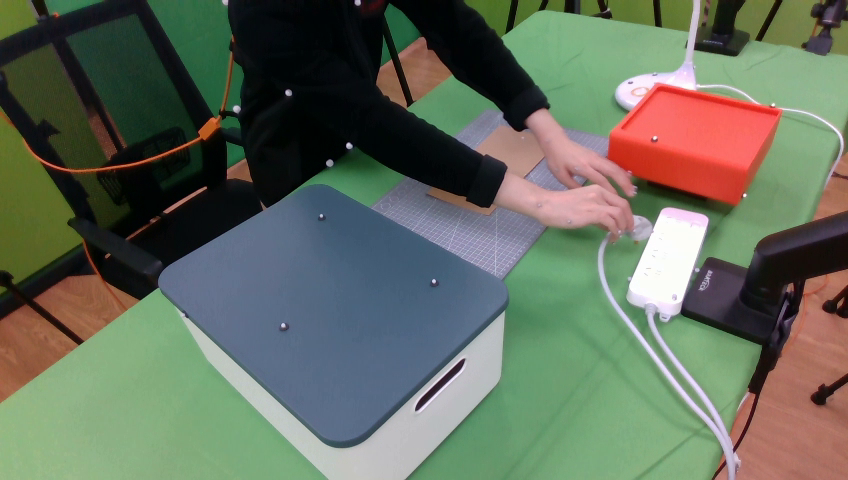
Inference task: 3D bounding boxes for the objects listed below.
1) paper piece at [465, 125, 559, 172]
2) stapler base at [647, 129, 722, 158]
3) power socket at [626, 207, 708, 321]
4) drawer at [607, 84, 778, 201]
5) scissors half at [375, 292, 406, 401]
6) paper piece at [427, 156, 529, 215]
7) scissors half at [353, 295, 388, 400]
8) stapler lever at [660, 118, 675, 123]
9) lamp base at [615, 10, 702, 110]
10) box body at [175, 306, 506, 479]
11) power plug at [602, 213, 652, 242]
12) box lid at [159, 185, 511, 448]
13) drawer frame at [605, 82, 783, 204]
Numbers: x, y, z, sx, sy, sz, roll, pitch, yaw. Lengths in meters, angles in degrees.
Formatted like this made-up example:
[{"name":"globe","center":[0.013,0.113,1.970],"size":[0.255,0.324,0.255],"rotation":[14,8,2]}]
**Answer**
[{"name":"paper piece","center":[0.171,-0.177,1.167],"size":[0.137,0.009,0.136],"rotation":[21,45,30]},{"name":"stapler base","center":[0.439,-0.167,1.023],"size":[0.131,0.024,0.041],"rotation":[-17,25,-15]},{"name":"power socket","center":[0.360,0.026,0.886],"size":[0.072,0.033,0.227],"rotation":[16,46,26]},{"name":"drawer","center":[0.439,-0.167,0.996],"size":[0.210,0.073,0.195],"rotation":[23,48,30]},{"name":"scissors half","center":[-0.048,0.139,0.817],"size":[0.040,0.013,0.174],"rotation":[-4,45,8]},{"name":"paper piece","center":[0.097,-0.103,1.091],"size":[0.134,0.004,0.136],"rotation":[23,51,33]},{"name":"scissors half","center":[-0.068,0.142,0.818],"size":[0.040,0.013,0.174],"rotation":[-20,44,0]},{"name":"stapler lever","center":[0.436,-0.192,1.014],"size":[0.118,0.040,0.026],"rotation":[-15,24,-16]},{"name":"lamp base","center":[0.484,-0.364,1.211],"size":[0.180,0.181,0.159],"rotation":[-15,41,-14]},{"name":"box body","center":[-0.105,0.111,0.751],"size":[0.361,0.161,0.255],"rotation":[28,52,35]},{"name":"power plug","center":[0.287,-0.015,0.859],"size":[0.072,0.053,0.035],"rotation":[-10,50,9]},{"name":"box lid","center":[-0.114,0.055,0.705],"size":[0.368,0.015,0.264],"rotation":[28,51,34]},{"name":"drawer frame","center":[0.441,-0.167,0.995],"size":[0.212,0.083,0.202],"rotation":[23,48,30]}]
